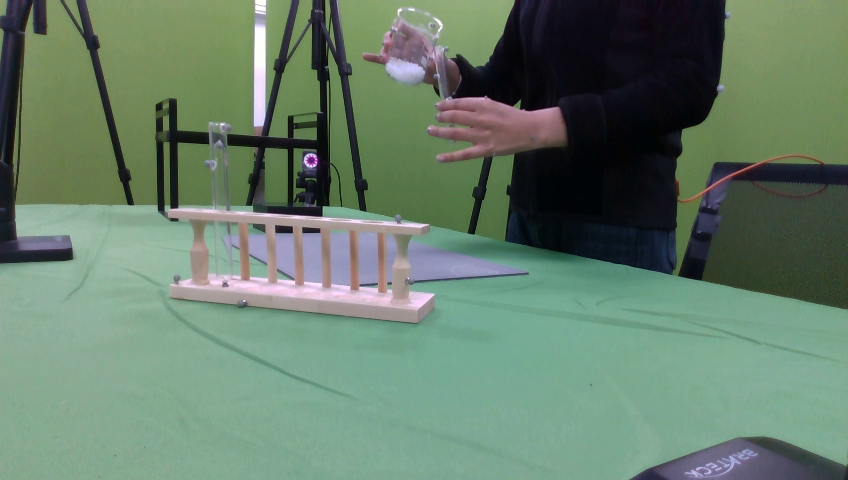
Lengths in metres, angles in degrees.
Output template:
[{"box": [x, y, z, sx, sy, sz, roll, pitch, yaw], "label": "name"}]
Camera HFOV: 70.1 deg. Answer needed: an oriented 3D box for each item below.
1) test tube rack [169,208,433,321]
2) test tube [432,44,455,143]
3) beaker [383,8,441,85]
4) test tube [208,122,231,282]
[{"box": [-0.115, 0.018, 0.574, 0.242, 0.085, 0.067, 4, 8, 13], "label": "test tube rack"}, {"box": [0.030, -0.219, 0.904, 0.017, 0.150, 0.017, -8, -3, 0], "label": "test tube"}, {"box": [-0.021, -0.308, 0.974, 0.074, 0.100, 0.083, -22, 56, -40], "label": "beaker"}, {"box": [-0.191, -0.034, 0.565, 0.017, 0.150, 0.017, 2, 11, 0], "label": "test tube"}]
